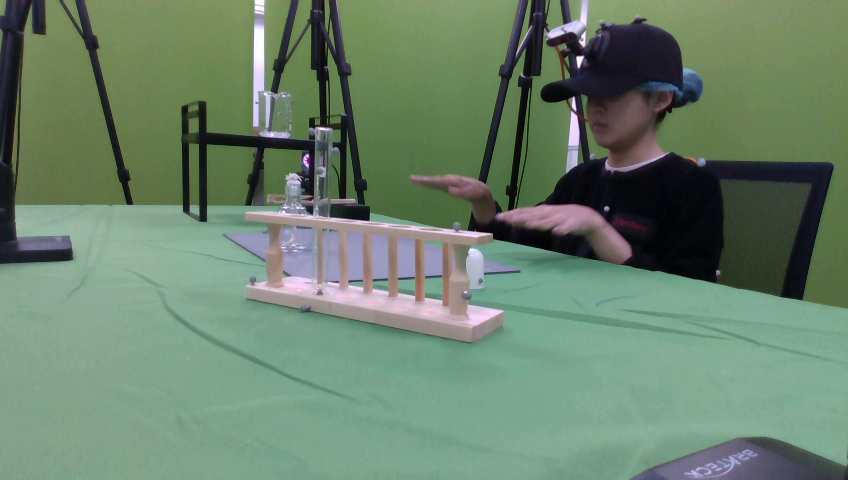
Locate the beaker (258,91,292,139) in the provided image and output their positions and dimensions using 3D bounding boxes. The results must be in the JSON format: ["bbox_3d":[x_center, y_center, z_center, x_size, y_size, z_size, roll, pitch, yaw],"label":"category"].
[{"bbox_3d":[-0.331,-0.276,1.343,0.074,0.100,0.083,0,8,-20],"label":"beaker"}]

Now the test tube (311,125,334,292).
[{"bbox_3d":[-0.092,-0.027,0.543,0.017,0.150,0.017,4,10,0],"label":"test tube"}]

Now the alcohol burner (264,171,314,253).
[{"bbox_3d":[-0.194,-0.042,0.888,0.078,0.119,0.078,3,5,0],"label":"alcohol burner"}]

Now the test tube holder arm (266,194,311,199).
[{"bbox_3d":[-0.262,-0.084,1.173,0.088,0.010,0.015,-3,2,-30],"label":"test tube holder arm"}]

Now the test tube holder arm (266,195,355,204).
[{"bbox_3d":[-0.222,-0.081,1.196,0.179,0.013,0.015,-4,3,-30],"label":"test tube holder arm"}]

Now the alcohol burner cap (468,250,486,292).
[{"bbox_3d":[0.056,0.035,0.690,0.034,0.048,0.034,2,7,0],"label":"alcohol burner cap"}]

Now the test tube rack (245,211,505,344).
[{"bbox_3d":[-0.049,0.025,0.547,0.241,0.085,0.067,7,8,29],"label":"test tube rack"}]
